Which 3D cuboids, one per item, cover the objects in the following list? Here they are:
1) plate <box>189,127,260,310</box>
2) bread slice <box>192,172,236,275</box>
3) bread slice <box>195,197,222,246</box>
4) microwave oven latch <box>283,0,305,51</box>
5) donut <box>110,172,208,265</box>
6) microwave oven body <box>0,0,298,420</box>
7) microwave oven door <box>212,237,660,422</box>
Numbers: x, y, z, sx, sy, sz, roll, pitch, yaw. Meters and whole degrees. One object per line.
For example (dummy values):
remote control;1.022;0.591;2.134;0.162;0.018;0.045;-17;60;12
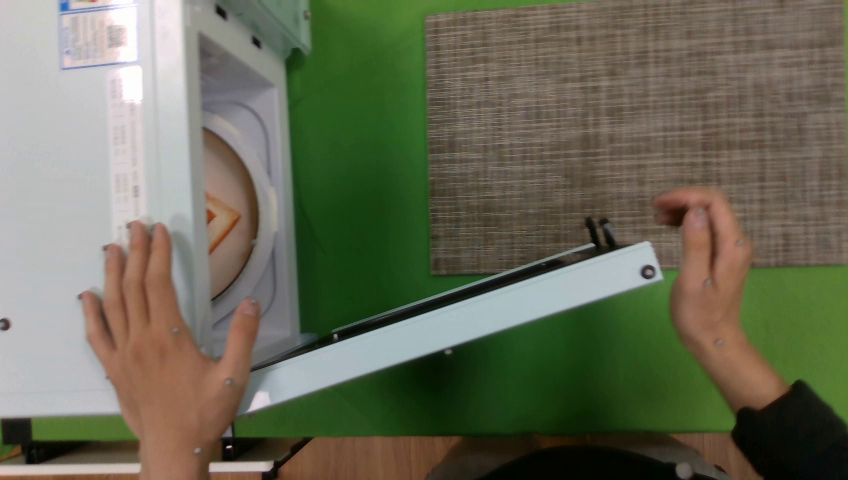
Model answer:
plate;-0.275;-0.020;0.661;0.207;0.039;0.207;0;90;7
bread slice;-0.274;-0.026;0.660;0.134;0.018;0.107;33;85;-6
bread slice;-0.283;-0.025;0.604;0.131;0.019;0.105;43;97;2
microwave oven latch;-0.154;-0.259;0.687;0.030;0.029;0.079;-4;91;7
donut;-0.276;-0.022;0.631;0.099;0.048;0.099;0;90;3
microwave oven body;-0.301;-0.072;0.611;0.326;0.260;0.441;-4;90;7
microwave oven door;0.017;0.071;0.567;0.356;0.244;0.039;-20;86;7
